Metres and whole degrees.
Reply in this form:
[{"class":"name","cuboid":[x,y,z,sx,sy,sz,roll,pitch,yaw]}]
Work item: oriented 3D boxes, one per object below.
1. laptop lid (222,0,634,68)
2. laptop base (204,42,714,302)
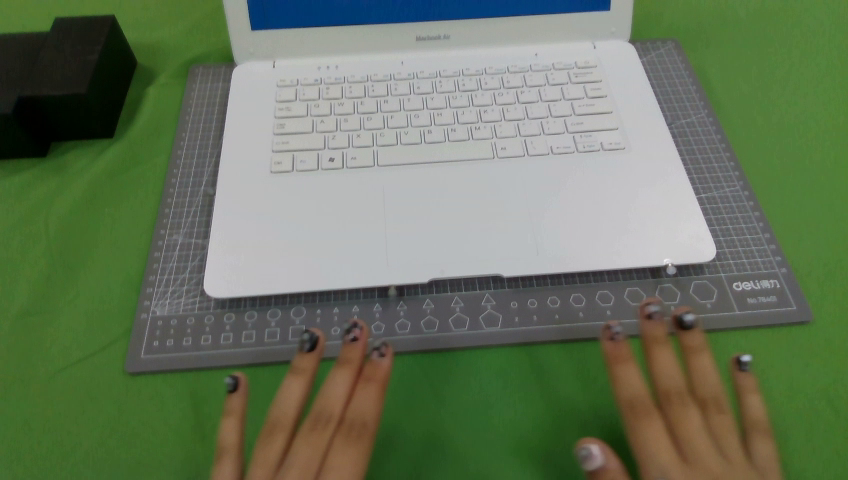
[{"class":"laptop lid","cuboid":[0.004,-0.264,0.490,0.357,0.243,0.013,-6,27,-2]},{"class":"laptop base","cuboid":[0.018,-0.064,0.478,0.354,0.023,0.233,-4,58,-2]}]
